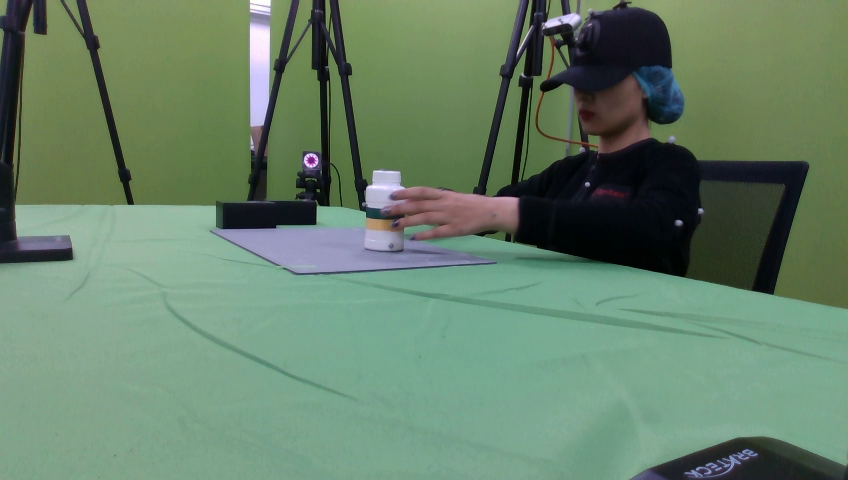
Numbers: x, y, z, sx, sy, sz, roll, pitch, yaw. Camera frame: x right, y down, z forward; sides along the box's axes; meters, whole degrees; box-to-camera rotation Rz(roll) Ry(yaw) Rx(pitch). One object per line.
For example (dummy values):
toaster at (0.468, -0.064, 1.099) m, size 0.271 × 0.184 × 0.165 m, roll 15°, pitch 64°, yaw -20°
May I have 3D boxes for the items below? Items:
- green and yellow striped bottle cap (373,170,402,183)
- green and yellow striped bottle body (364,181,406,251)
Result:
green and yellow striped bottle cap at (-0.057, -0.097, 0.929) m, size 0.045 × 0.020 × 0.045 m, roll 1°, pitch 9°, yaw 0°
green and yellow striped bottle body at (-0.060, -0.046, 0.935) m, size 0.063 × 0.119 × 0.063 m, roll 3°, pitch 8°, yaw 0°
